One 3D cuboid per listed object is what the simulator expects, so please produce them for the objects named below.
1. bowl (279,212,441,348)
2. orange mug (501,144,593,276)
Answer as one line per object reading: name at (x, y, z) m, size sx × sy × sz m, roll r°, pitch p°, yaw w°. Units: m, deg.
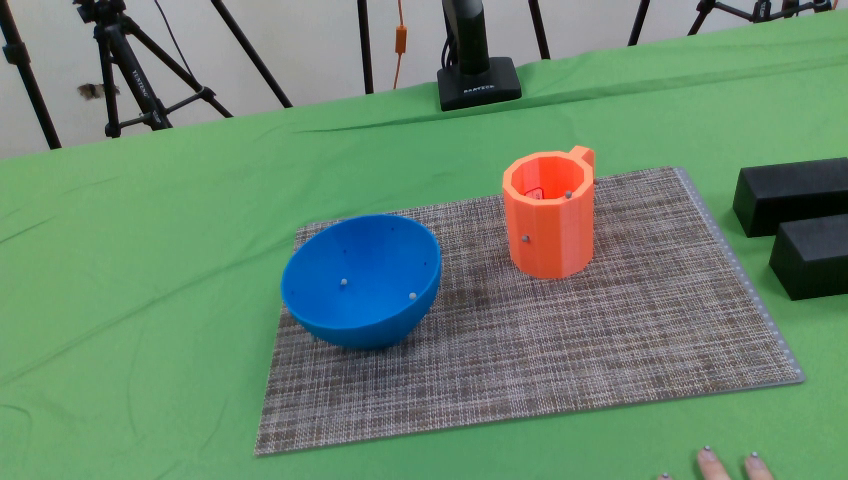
bowl at (-0.052, 0.050, 0.577) m, size 0.151 × 0.077 × 0.150 m, roll -7°, pitch 41°, yaw 7°
orange mug at (0.135, -0.038, 0.612) m, size 0.083 × 0.102 × 0.126 m, roll 23°, pitch 56°, yaw 34°
